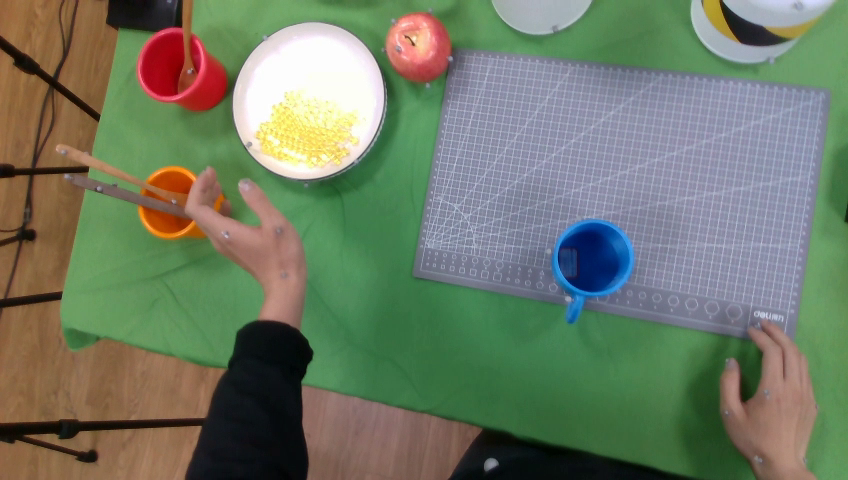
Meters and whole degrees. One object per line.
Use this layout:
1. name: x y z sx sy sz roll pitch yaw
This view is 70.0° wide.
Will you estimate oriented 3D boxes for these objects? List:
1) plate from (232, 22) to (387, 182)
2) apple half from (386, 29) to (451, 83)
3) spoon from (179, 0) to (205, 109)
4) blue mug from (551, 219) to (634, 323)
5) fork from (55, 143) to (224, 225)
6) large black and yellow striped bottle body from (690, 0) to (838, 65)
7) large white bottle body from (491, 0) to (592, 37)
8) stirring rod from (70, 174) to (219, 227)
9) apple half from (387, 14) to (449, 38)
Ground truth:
1. plate: -0.147 -0.178 0.794 0.209 0.038 0.208 -1 86 10
2. apple half: -0.005 -0.223 0.755 0.081 0.075 0.053 -5 89 6
3. spoon: -0.298 -0.252 0.771 0.041 0.021 0.195 31 136 12
4. blue mug: 0.181 0.039 0.685 0.082 0.106 0.116 18 89 11
5. fork: -0.353 -0.069 0.764 0.209 0.018 0.028 27 90 -33
6. large black and yellow striped bottle body: 0.369 -0.278 0.638 0.130 0.184 0.130 -1 85 10
7. large white bottle body: 0.134 -0.326 0.682 0.130 0.185 0.130 -1 85 10
8. stirring rod: -0.348 -0.048 0.764 0.177 0.006 0.014 19 77 -30
9. apple half: -0.008 -0.262 0.757 0.081 0.081 0.033 -5 90 10
